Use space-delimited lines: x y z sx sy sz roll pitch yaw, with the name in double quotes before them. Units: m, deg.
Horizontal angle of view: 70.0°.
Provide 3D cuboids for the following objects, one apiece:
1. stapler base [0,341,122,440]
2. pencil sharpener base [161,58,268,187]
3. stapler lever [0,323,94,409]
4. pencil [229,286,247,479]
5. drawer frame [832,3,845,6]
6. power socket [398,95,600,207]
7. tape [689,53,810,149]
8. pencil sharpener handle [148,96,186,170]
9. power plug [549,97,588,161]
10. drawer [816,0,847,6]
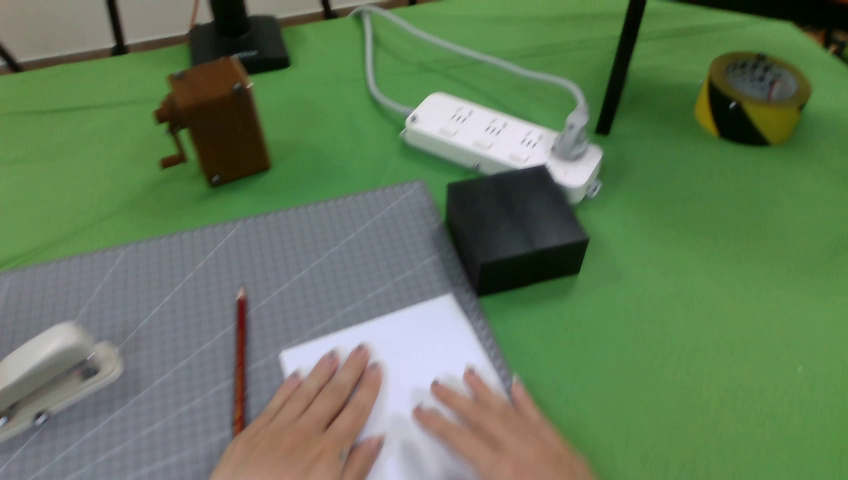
"stapler base" -0.303 0.117 0.463 0.130 0.024 0.041 -30 54 -22
"pencil sharpener base" -0.212 -0.116 0.613 0.077 0.108 0.060 -23 53 -18
"stapler lever" -0.304 0.102 0.444 0.118 0.040 0.026 -29 54 -23
"pencil" -0.146 0.110 0.480 0.012 0.012 0.192 -8 47 -7
"drawer frame" 0.384 -0.297 0.550 0.201 0.083 0.212 17 50 15
"power socket" 0.079 -0.099 0.649 0.225 0.033 0.072 23 52 20
"tape" 0.368 -0.160 0.689 0.117 0.053 0.115 0 50 0
"pencil sharpener handle" -0.254 -0.102 0.584 0.031 0.068 0.035 -23 31 -18
"power plug" 0.158 -0.106 0.624 0.035 0.053 0.072 32 57 25
"drawer" 0.382 -0.292 0.548 0.193 0.074 0.210 18 50 15
